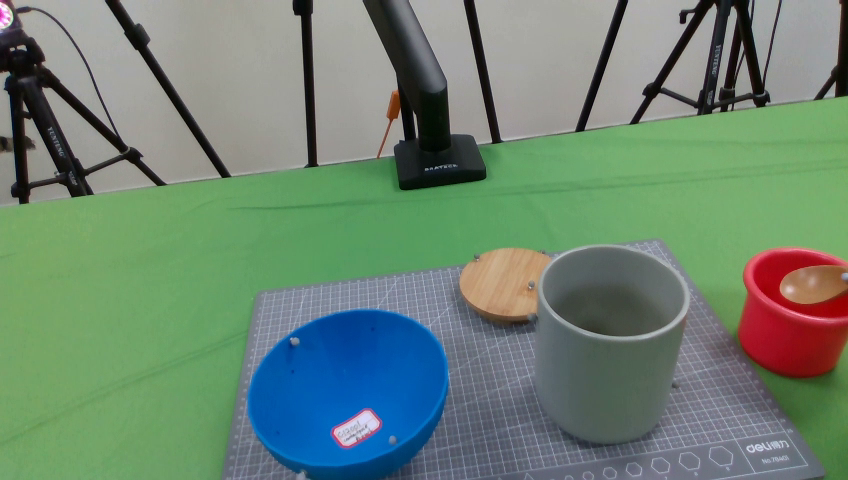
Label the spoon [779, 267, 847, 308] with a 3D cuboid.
[{"bbox_3d":[0.352,0.021,0.441,0.022,0.194,0.041,39,64,-8],"label":"spoon"}]

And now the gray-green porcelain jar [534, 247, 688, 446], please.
[{"bbox_3d":[0.139,0.086,0.469,0.106,0.127,0.105,-4,36,3],"label":"gray-green porcelain jar"}]

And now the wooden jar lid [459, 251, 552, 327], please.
[{"bbox_3d":[0.090,0.051,0.618,0.108,0.021,0.107,-4,35,3],"label":"wooden jar lid"}]

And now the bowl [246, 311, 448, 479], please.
[{"bbox_3d":[-0.053,0.134,0.472,0.151,0.077,0.150,-4,36,3],"label":"bowl"}]
